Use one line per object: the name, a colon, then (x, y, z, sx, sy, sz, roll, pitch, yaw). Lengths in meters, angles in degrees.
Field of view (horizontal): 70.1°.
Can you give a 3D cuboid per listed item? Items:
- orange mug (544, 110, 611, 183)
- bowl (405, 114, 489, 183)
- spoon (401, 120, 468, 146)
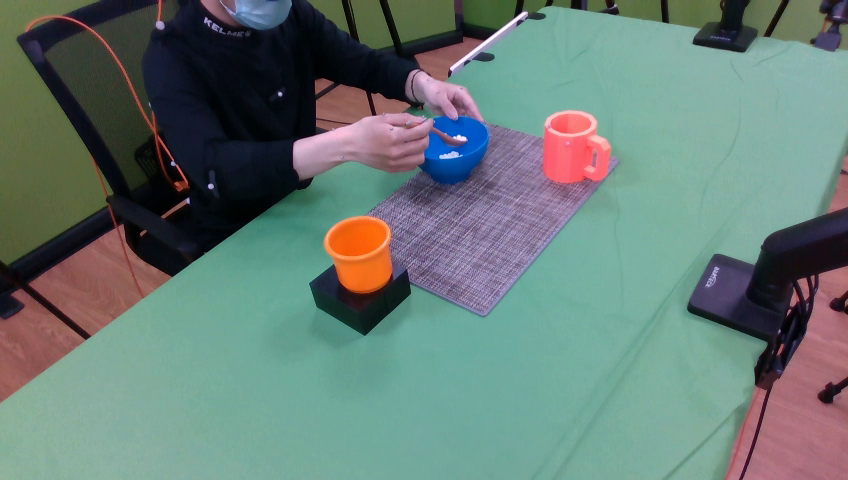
orange mug: (0.266, -0.157, 1.049, 0.084, 0.101, 0.125, -33, 42, -26)
bowl: (0.044, -0.156, 1.096, 0.151, 0.077, 0.150, -4, 41, 4)
spoon: (0.017, -0.180, 1.007, 0.041, 0.021, 0.195, 12, 2, 32)
